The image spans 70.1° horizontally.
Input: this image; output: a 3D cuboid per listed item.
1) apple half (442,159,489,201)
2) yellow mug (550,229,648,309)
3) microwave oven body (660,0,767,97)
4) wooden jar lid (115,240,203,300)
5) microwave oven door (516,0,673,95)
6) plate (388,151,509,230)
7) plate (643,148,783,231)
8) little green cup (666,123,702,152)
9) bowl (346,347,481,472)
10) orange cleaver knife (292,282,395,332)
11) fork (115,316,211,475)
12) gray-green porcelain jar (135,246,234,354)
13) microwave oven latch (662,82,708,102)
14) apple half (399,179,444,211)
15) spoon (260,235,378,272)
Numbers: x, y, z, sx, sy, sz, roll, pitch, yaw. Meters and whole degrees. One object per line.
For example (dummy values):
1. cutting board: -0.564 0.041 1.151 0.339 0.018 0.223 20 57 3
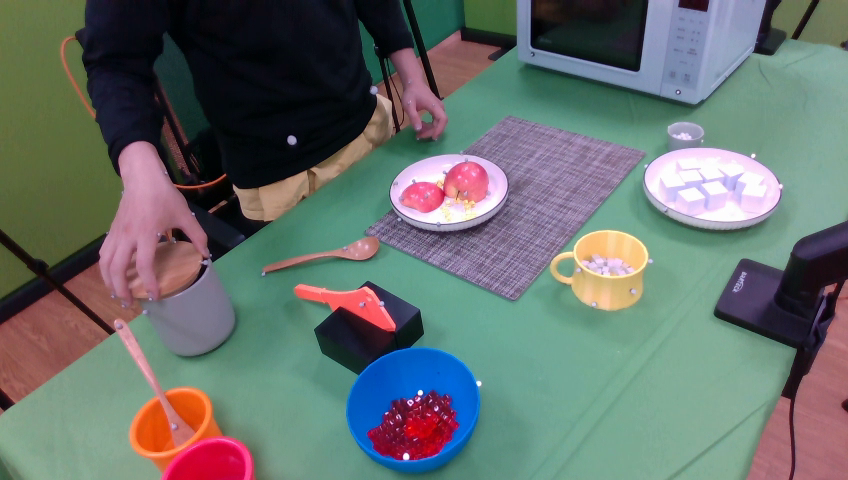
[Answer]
1. apple half: 0.074 -0.110 1.047 0.080 0.053 0.075 21 45 30
2. yellow mug: 0.245 0.040 0.857 0.130 0.064 0.099 1 42 11
3. microwave oven body: 0.473 -0.517 1.314 0.438 0.261 0.327 26 51 34
4. wooden jar lid: -0.341 0.039 0.784 0.108 0.021 0.108 -2 37 2
5. microwave oven door: 0.344 -0.458 1.256 0.353 0.245 0.039 26 51 33
6. plate: 0.043 -0.082 1.042 0.209 0.038 0.208 -4 40 4
7. plate: 0.464 -0.080 0.986 0.207 0.039 0.206 -4 41 4
8. little green cup: 0.472 -0.183 1.102 0.061 0.039 0.061 -5 39 5
9. bowl: -0.008 0.205 0.691 0.151 0.077 0.150 -4 40 4
10. orange cleaver knife: -0.116 0.091 0.835 0.209 0.077 0.012 2 32 48
11. fork: -0.308 0.179 0.708 0.028 0.018 0.207 -30 89 -22
12. gray-green porcelain jar: -0.328 0.087 0.836 0.106 0.127 0.105 -4 41 4
13. microwave oven latch: 0.517 -0.298 1.203 0.078 0.029 0.030 28 53 35
14. apple half: -0.004 -0.088 1.045 0.081 0.033 0.081 -2 43 2
15. spoon: -0.167 0.024 0.966 0.194 0.022 0.041 -10 57 -3
